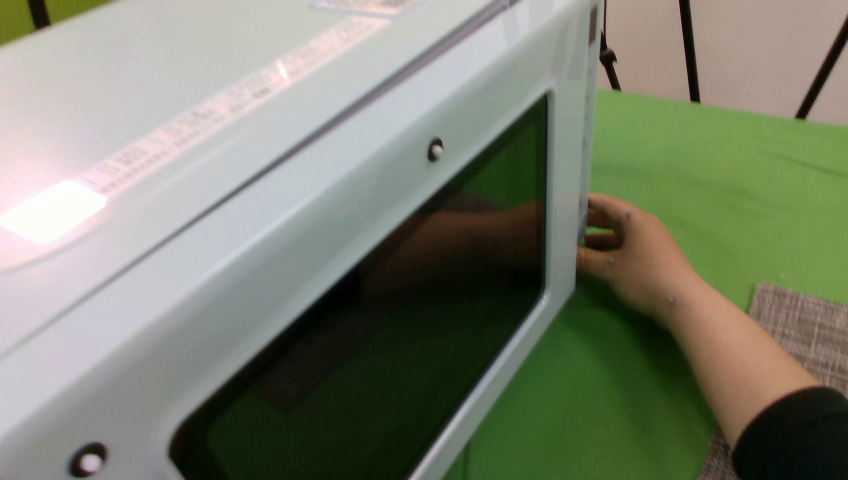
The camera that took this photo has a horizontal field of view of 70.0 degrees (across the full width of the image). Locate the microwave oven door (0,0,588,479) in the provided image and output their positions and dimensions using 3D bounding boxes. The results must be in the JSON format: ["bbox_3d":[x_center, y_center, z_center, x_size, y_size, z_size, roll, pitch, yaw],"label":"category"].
[{"bbox_3d":[-0.005,0.042,0.329,0.039,0.246,0.355,20,46,31],"label":"microwave oven door"}]

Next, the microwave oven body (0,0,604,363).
[{"bbox_3d":[-0.112,-0.019,0.432,0.323,0.263,0.440,18,46,28],"label":"microwave oven body"}]

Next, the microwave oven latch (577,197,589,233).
[{"bbox_3d":[0.117,-0.010,0.535,0.030,0.030,0.079,24,49,33],"label":"microwave oven latch"}]
